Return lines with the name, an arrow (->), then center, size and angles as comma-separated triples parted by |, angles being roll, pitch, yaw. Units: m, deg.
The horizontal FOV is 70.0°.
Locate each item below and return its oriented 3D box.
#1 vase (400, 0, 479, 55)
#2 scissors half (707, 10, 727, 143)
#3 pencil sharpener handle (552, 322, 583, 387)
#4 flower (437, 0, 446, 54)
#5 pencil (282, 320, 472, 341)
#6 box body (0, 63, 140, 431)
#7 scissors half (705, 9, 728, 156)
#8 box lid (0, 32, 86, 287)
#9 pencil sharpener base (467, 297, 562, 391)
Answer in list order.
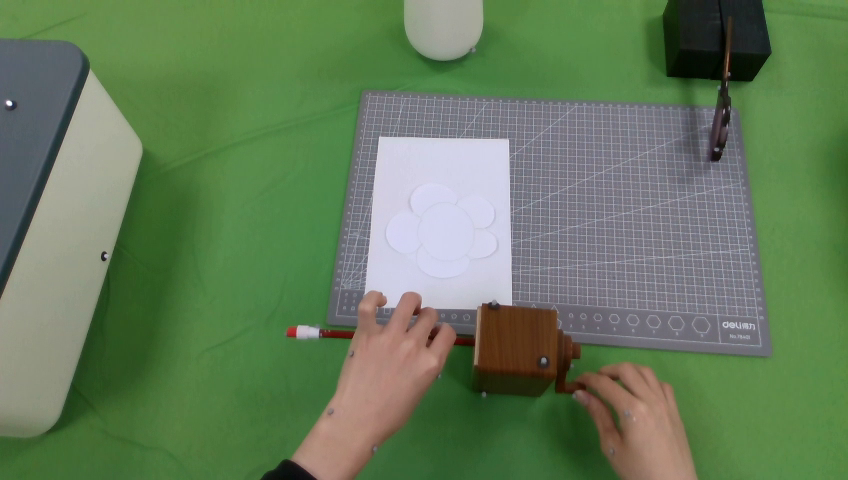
vase -> 0.016, -0.306, 0.684 | 0.098, 0.201, 0.097 | -1, 66, 3
scissors half -> 0.328, -0.185, 0.668 | 0.013, 0.040, 0.174 | 9, 68, 15
pencil sharpener handle -> 0.131, 0.105, 0.541 | 0.030, 0.068, 0.035 | 4, 33, 4
flower -> 0.007, -0.351, 0.613 | 0.044, 0.365, 0.038 | -3, 49, 5
pencil -> -0.028, 0.082, 0.537 | 0.194, 0.012, 0.012 | 4, 67, 0
box body -> -0.464, -0.006, 0.592 | 0.254, 0.161, 0.361 | 3, 67, 3
scissors half -> 0.334, -0.180, 0.687 | 0.012, 0.040, 0.175 | 8, 85, 20
box lid -> -0.467, -0.039, 0.524 | 0.263, 0.015, 0.368 | 4, 67, 3
pencil sharpener base -> 0.081, 0.099, 0.561 | 0.076, 0.108, 0.061 | 4, 66, 4
